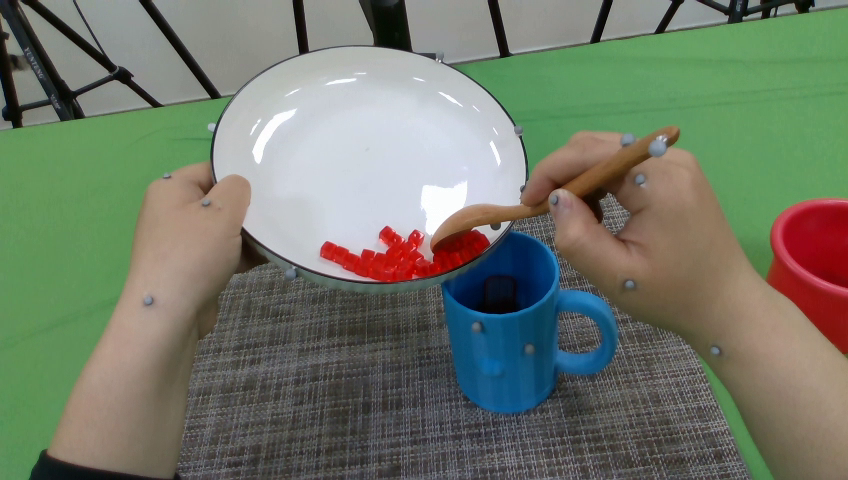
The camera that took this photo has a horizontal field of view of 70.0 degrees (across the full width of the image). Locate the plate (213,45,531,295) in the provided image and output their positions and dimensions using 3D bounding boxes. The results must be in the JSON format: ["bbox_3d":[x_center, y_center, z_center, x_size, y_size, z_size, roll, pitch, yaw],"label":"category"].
[{"bbox_3d":[-0.032,-0.050,0.412,0.208,0.039,0.205,4,56,-6],"label":"plate"}]

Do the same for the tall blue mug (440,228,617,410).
[{"bbox_3d":[0.069,0.053,0.418,0.107,0.109,0.077,-12,43,-2],"label":"tall blue mug"}]

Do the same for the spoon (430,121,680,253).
[{"bbox_3d":[0.054,-0.020,0.308,0.041,0.021,0.193,-27,3,-29],"label":"spoon"}]
